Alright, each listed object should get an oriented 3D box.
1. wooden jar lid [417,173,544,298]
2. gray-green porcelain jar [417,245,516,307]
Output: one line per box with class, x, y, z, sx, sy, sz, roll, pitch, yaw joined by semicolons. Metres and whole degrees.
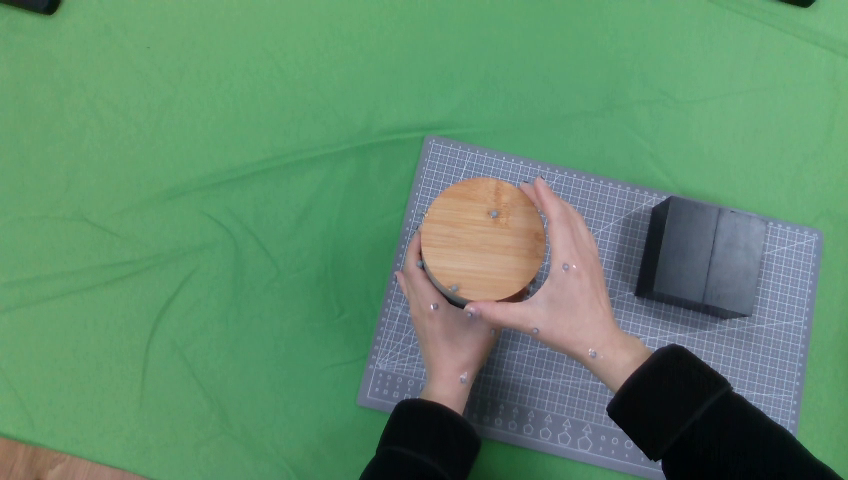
wooden jar lid;0.048;-0.003;0.523;0.108;0.021;0.108;0;83;-3
gray-green porcelain jar;0.046;0.010;0.584;0.106;0.127;0.105;1;80;-3
